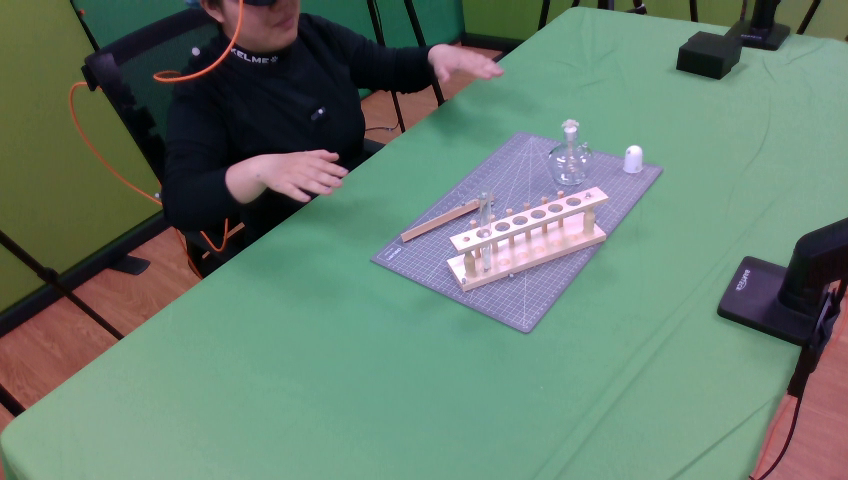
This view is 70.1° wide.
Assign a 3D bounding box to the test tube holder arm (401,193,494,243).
[{"bbox_3d":[0.041,-0.039,1.018,0.179,0.015,0.013,-26,9,-18],"label":"test tube holder arm"}]

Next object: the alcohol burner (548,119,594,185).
[{"bbox_3d":[0.254,-0.155,1.043,0.078,0.120,0.077,-7,40,6],"label":"alcohol burner"}]

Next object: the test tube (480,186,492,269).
[{"bbox_3d":[0.088,-0.014,0.852,0.017,0.151,0.017,-3,42,3],"label":"test tube"}]

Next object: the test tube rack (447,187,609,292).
[{"bbox_3d":[0.154,-0.011,0.913,0.243,0.085,0.066,-19,40,-11],"label":"test tube rack"}]

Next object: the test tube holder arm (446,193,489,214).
[{"bbox_3d":[0.078,-0.058,1.037,0.088,0.015,0.010,-26,9,-18],"label":"test tube holder arm"}]

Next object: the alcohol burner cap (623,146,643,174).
[{"bbox_3d":[0.369,-0.143,1.061,0.034,0.048,0.033,-6,41,6],"label":"alcohol burner cap"}]
